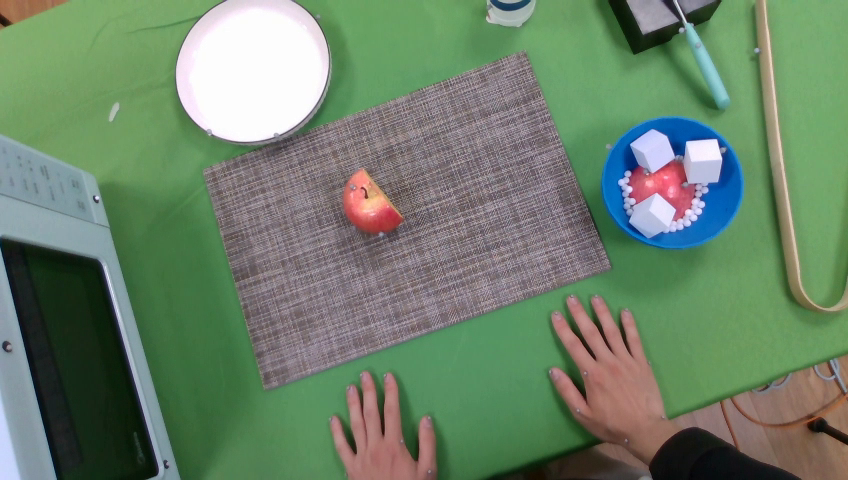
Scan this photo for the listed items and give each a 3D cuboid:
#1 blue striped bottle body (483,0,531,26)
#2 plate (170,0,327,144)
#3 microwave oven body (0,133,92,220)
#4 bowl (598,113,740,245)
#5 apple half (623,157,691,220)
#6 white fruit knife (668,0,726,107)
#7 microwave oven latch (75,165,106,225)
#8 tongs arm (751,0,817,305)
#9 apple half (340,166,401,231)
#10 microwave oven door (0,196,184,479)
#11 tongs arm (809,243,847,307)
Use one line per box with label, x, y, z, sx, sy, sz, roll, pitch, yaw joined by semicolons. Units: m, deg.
blue striped bottle body;0.102;-0.320;0.737;0.063;0.121;0.063;-1;80;6
plate;-0.228;-0.222;0.800;0.207;0.039;0.207;-1;81;5
microwave oven body;-0.523;0.146;0.657;0.326;0.261;0.439;-21;80;2
bowl;0.273;-0.062;0.703;0.151;0.077;0.151;-1;81;6
apple half;0.273;-0.062;0.698;0.081;0.033;0.081;-1;80;8
white fruit knife;0.310;-0.252;0.723;0.016;0.027;0.208;-28;96;19
microwave oven latch;-0.436;-0.054;0.777;0.030;0.029;0.079;-22;80;2
tongs arm;0.421;-0.116;0.720;0.028;0.028;0.386;-3;81;3
apple half;-0.071;-0.043;0.734;0.053;0.075;0.080;-40;83;4
microwave oven door;-0.373;0.131;0.639;0.039;0.245;0.354;-22;79;2
tongs arm;0.501;-0.109;0.707;0.050;0.026;0.383;10;83;8
